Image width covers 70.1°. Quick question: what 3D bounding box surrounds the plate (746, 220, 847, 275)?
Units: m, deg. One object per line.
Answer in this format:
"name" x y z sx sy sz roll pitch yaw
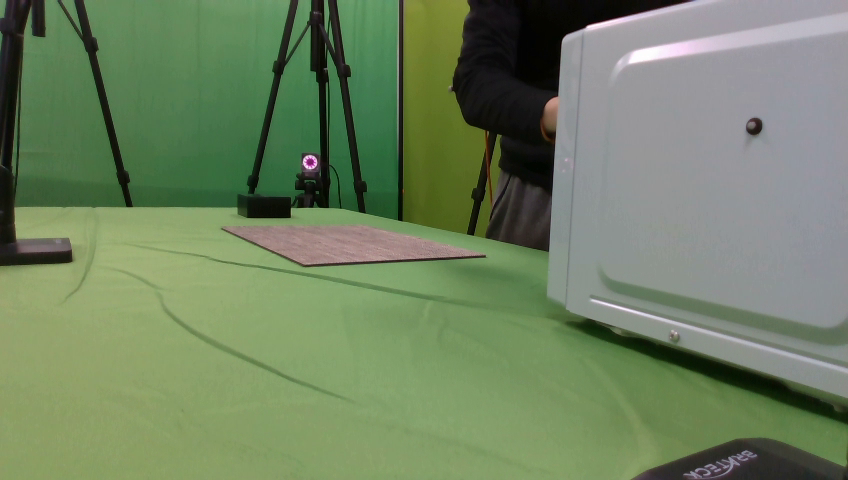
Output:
"plate" 0.408 0.008 0.552 0.209 0.038 0.209 3 6 0

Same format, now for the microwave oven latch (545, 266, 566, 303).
"microwave oven latch" 0.148 0.039 0.555 0.079 0.029 0.030 -2 7 -28

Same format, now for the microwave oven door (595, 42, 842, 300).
"microwave oven door" 0.338 -0.071 0.660 0.358 0.243 0.039 -2 8 -29

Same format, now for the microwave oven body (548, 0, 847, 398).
"microwave oven body" 0.379 -0.045 0.509 0.444 0.260 0.324 -2 8 -31
